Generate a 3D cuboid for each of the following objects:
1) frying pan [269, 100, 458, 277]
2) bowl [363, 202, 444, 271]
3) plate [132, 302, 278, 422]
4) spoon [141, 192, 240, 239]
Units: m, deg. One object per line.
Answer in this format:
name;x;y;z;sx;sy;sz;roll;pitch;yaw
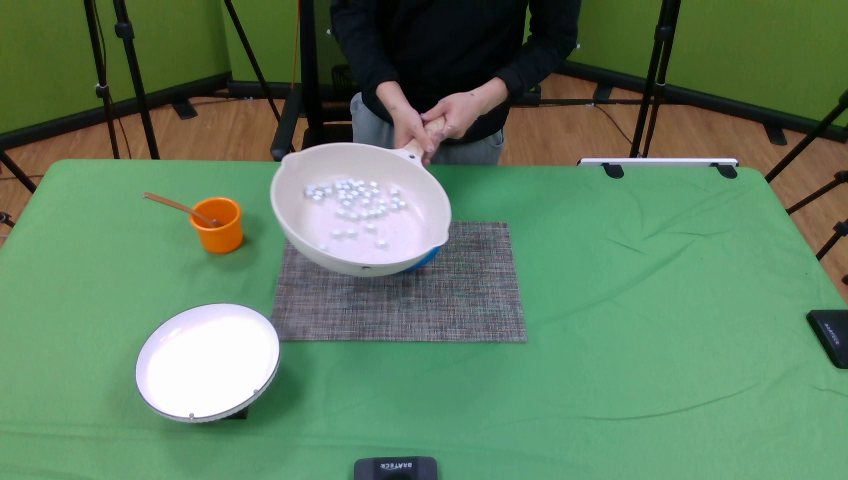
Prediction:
frying pan;-0.056;-0.115;1.060;0.306;0.103;0.486;30;53;11
bowl;-0.040;0.006;1.144;0.151;0.077;0.150;2;46;-2
plate;-0.325;0.186;0.916;0.208;0.039;0.206;3;44;-2
spoon;-0.428;-0.048;1.123;0.021;0.195;0.041;-39;44;20
